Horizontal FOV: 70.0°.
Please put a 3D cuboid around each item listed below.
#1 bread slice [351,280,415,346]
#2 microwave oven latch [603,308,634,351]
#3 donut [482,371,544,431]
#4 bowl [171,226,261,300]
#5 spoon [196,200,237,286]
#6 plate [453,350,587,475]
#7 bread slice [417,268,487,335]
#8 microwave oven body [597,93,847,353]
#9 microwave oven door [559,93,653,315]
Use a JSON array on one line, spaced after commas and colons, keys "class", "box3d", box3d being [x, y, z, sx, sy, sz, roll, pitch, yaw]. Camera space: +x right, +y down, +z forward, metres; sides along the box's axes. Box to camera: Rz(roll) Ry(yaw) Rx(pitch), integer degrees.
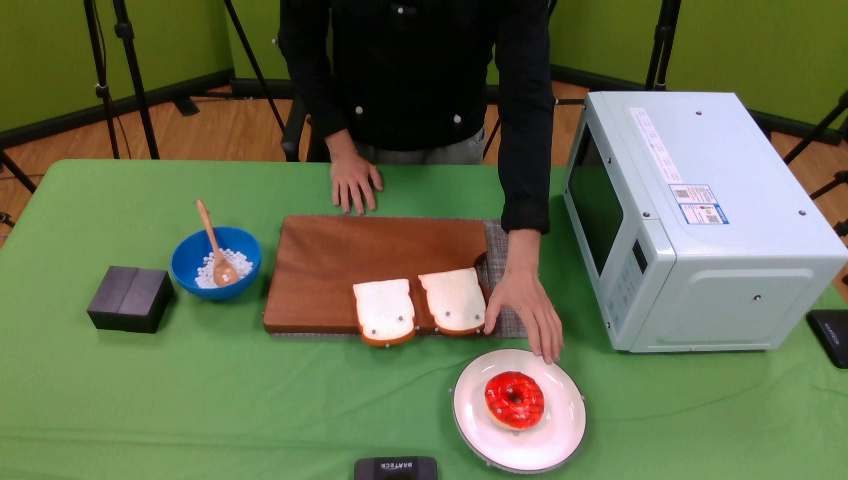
[{"class": "bread slice", "box3d": [-0.067, 0.123, 1.041, 0.105, 0.019, 0.130, -7, 47, -9]}, {"class": "microwave oven latch", "box3d": [0.333, 0.153, 1.044, 0.030, 0.029, 0.078, 0, 45, -3]}, {"class": "donut", "box3d": [0.139, 0.250, 0.942, 0.099, 0.048, 0.098, 5, 45, -5]}, {"class": "bowl", "box3d": [-0.363, 0.054, 1.081, 0.151, 0.077, 0.150, 2, 45, -2]}, {"class": "spoon", "box3d": [-0.378, 0.003, 1.086, 0.042, 0.022, 0.192, -15, 67, -24]}, {"class": "plate", "box3d": [0.146, 0.267, 0.943, 0.208, 0.039, 0.206, 2, 46, -2]}, {"class": "bread slice", "box3d": [0.055, 0.107, 1.063, 0.107, 0.018, 0.133, -9, 48, -12]}, {"class": "microwave oven body", "box3d": [0.475, -0.041, 1.109, 0.326, 0.261, 0.438, -1, 45, -4]}, {"class": "microwave oven door", "box3d": [0.327, -0.074, 1.123, 0.039, 0.245, 0.353, -1, 46, -5]}]
